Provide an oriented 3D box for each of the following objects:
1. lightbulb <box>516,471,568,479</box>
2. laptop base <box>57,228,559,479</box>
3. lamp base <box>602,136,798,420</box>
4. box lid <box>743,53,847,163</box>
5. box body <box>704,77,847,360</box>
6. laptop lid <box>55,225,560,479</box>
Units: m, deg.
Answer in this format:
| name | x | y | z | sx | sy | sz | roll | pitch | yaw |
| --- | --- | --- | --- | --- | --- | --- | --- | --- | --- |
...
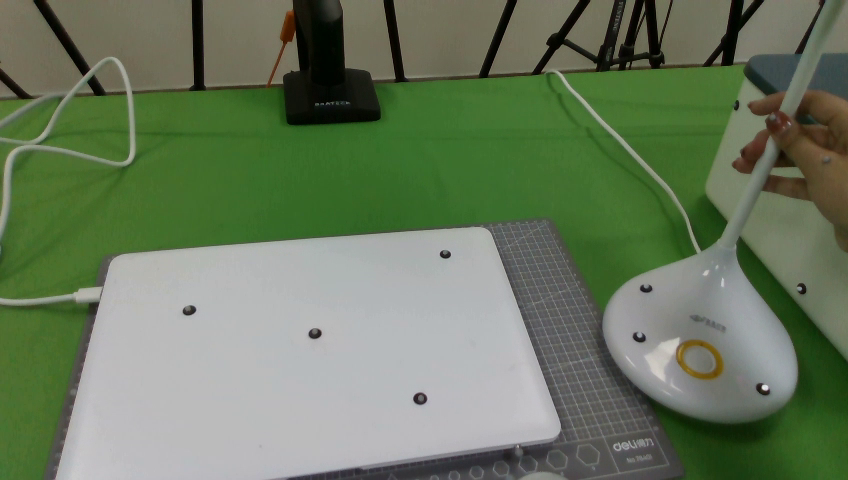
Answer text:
| name | x | y | z | sx | sy | sz | roll | pitch | yaw |
| --- | --- | --- | --- | --- | --- | --- | --- | --- | --- |
| lightbulb | 0.079 | 0.200 | 0.375 | 0.059 | 0.060 | 0.106 | -2 | 58 | -6 |
| laptop base | -0.089 | 0.086 | 0.506 | 0.355 | 0.023 | 0.233 | -4 | 47 | -10 |
| lamp base | 0.241 | 0.019 | 0.483 | 0.160 | 0.182 | 0.178 | 13 | 39 | 12 |
| box lid | 0.473 | -0.071 | 0.509 | 0.264 | 0.015 | 0.367 | -5 | 44 | -12 |
| box body | 0.470 | -0.014 | 0.558 | 0.255 | 0.162 | 0.360 | -6 | 43 | -11 |
| laptop lid | -0.088 | 0.079 | 0.496 | 0.357 | 0.013 | 0.239 | -3 | 45 | -9 |
